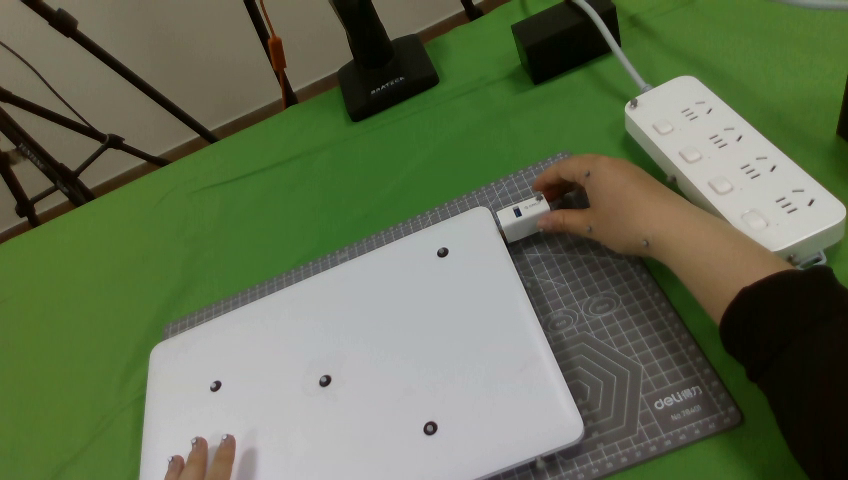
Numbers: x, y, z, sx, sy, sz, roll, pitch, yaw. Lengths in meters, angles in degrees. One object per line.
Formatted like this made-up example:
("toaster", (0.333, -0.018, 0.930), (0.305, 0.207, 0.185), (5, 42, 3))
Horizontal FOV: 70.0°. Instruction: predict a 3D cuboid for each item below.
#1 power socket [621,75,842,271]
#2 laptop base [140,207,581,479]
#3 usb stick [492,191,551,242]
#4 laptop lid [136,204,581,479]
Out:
("power socket", (0.241, -0.065, 0.499), (0.072, 0.033, 0.224), (-25, 46, 3))
("laptop base", (-0.076, 0.121, 0.502), (0.354, 0.023, 0.233), (-23, 50, 5))
("usb stick", (0.078, -0.018, 0.528), (0.059, 0.027, 0.021), (-25, 40, 11))
("laptop lid", (-0.080, 0.115, 0.492), (0.356, 0.013, 0.239), (-22, 48, 7))
